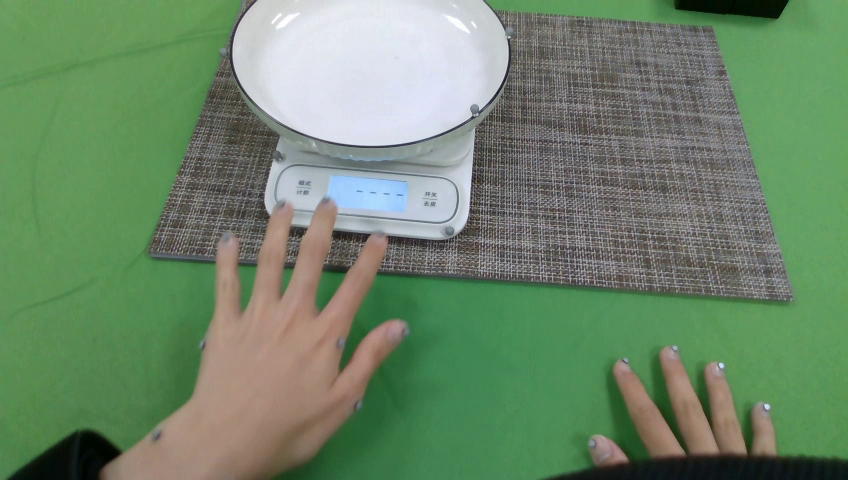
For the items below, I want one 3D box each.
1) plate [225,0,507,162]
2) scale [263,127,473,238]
[{"bbox_3d":[-0.042,-0.135,0.464,0.208,0.039,0.205,2,57,-3],"label":"plate"},{"bbox_3d":[-0.035,-0.094,0.476,0.148,0.032,0.199,6,57,1],"label":"scale"}]
